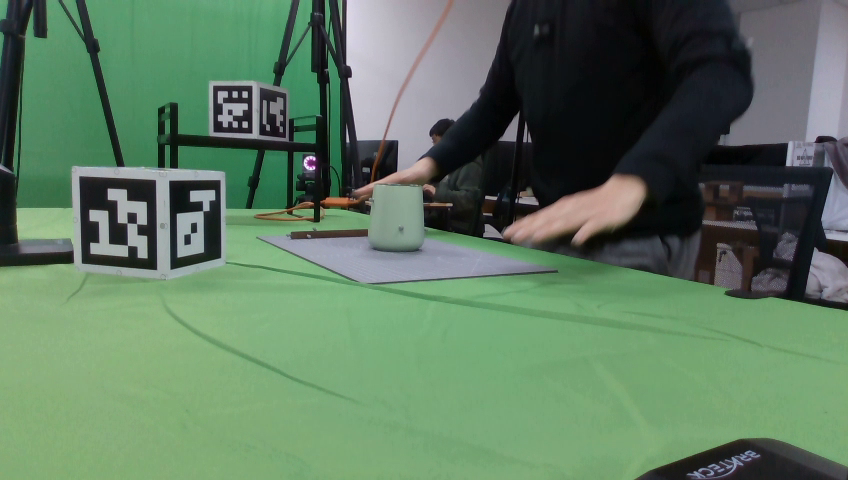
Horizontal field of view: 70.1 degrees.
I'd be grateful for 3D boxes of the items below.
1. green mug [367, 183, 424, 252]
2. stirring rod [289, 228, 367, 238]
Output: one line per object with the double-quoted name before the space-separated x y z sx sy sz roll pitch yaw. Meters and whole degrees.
"green mug" -0.053 -0.039 0.989 0.093 0.105 0.124 -1 8 -29
"stirring rod" -0.161 -0.013 1.093 0.177 0.014 0.006 -3 3 -35
